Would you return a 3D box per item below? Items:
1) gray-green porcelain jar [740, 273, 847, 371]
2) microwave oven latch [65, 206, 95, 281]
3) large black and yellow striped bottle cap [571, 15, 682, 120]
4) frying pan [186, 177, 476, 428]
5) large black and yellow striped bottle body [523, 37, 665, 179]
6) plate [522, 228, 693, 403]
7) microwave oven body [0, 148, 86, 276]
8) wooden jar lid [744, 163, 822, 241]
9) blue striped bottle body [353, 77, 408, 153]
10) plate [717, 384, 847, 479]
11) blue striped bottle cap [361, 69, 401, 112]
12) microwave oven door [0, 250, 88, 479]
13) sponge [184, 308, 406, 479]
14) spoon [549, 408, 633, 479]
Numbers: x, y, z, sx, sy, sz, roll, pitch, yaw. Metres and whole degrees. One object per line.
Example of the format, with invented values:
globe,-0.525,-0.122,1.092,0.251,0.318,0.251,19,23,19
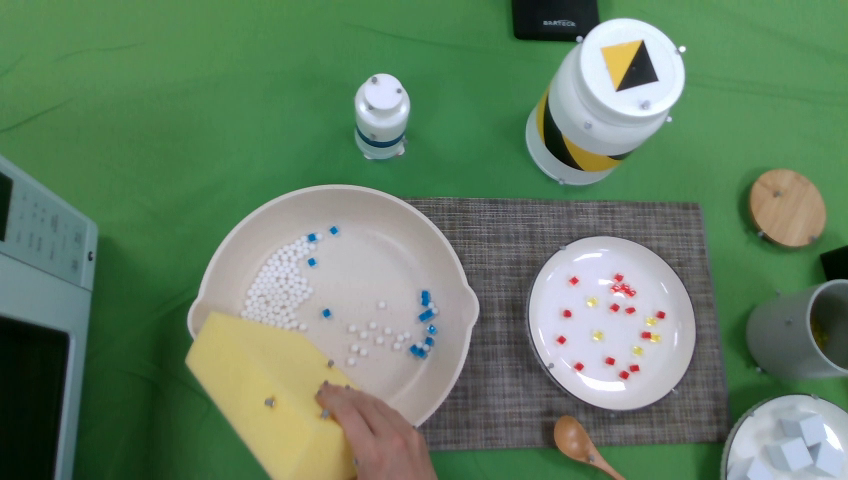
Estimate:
gray-green porcelain jar,0.452,0.102,0.717,0.106,0.127,0.105,2,76,-7
microwave oven latch,-0.379,0.004,0.658,0.030,0.029,0.079,3,77,-7
large black and yellow striped bottle cap,0.213,-0.182,0.635,0.115,0.019,0.114,2,75,-6
frying pan,-0.092,0.173,0.638,0.307,0.103,0.484,-1,69,-5
large black and yellow striped bottle body,0.203,-0.161,0.718,0.131,0.184,0.130,2,76,-6
plate,0.217,0.090,0.731,0.209,0.038,0.208,2,77,-6
microwave oven body,-0.512,0.150,0.506,0.327,0.261,0.439,1,77,-8
wooden jar lid,0.477,-0.050,0.812,0.108,0.021,0.108,2,78,-7
blue striped bottle body,-0.053,-0.153,0.715,0.063,0.121,0.063,2,76,-7
plate,0.443,0.277,0.721,0.208,0.039,0.206,2,76,-7
blue striped bottle cap,-0.047,-0.165,0.665,0.044,0.021,0.044,2,74,-5
microwave oven door,-0.367,0.192,0.510,0.039,0.244,0.354,0,76,-7
sponge,-0.129,0.148,0.584,0.204,0.119,0.061,30,93,42
spoon,0.217,0.265,0.699,0.193,0.022,0.041,41,59,2
